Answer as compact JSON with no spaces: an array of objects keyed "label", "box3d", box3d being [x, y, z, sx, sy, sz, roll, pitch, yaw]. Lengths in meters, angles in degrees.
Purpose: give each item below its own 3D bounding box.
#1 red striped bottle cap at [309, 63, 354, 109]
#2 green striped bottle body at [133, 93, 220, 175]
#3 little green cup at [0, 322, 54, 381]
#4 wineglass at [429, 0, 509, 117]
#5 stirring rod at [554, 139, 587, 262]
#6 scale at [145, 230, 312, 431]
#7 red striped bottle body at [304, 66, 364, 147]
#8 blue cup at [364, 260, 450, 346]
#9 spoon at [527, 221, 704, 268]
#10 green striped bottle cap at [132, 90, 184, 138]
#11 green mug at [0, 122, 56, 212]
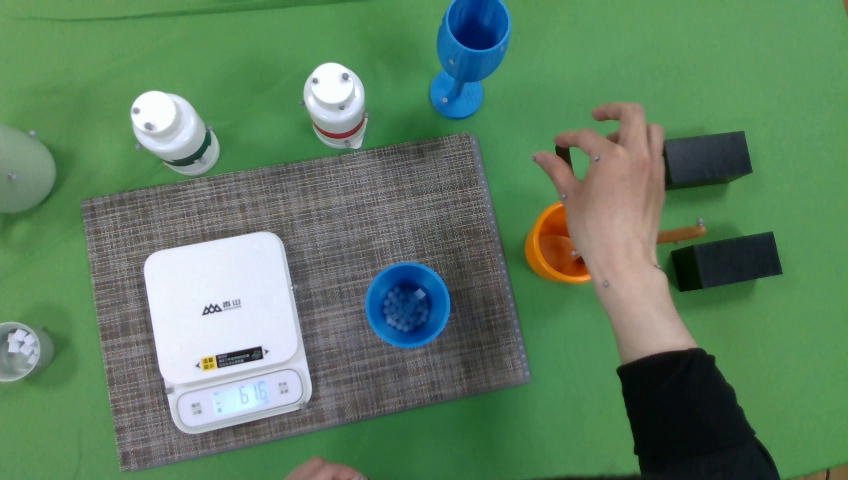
[{"label":"red striped bottle cap","box3d":[-0.093,-0.155,0.609,0.044,0.018,0.044,1,80,-4]},{"label":"green striped bottle body","box3d":[-0.263,-0.113,0.642,0.063,0.119,0.063,1,82,-5]},{"label":"little green cup","box3d":[-0.426,0.117,0.638,0.061,0.038,0.061,1,82,-6]},{"label":"wineglass","box3d":[0.044,-0.194,0.653,0.074,0.172,0.073,1,82,-4]},{"label":"stirring rod","box3d":[0.159,-0.036,0.653,0.014,0.178,0.006,1,47,24]},{"label":"scale","box3d":[-0.212,0.096,0.659,0.149,0.031,0.200,-12,84,-6]},{"label":"red striped bottle body","box3d":[-0.097,-0.148,0.662,0.063,0.120,0.063,1,82,-5]},{"label":"blue cup","box3d":[-0.019,0.068,0.645,0.093,0.100,0.092,0,83,-3]},{"label":"spoon","box3d":[0.199,0.002,0.653,0.022,0.193,0.041,-8,89,-50]},{"label":"green striped bottle cap","box3d":[-0.258,-0.122,0.587,0.044,0.020,0.044,1,82,-3]},{"label":"green mug","box3d":[-0.458,-0.065,0.627,0.092,0.105,0.125,24,81,-1]}]
